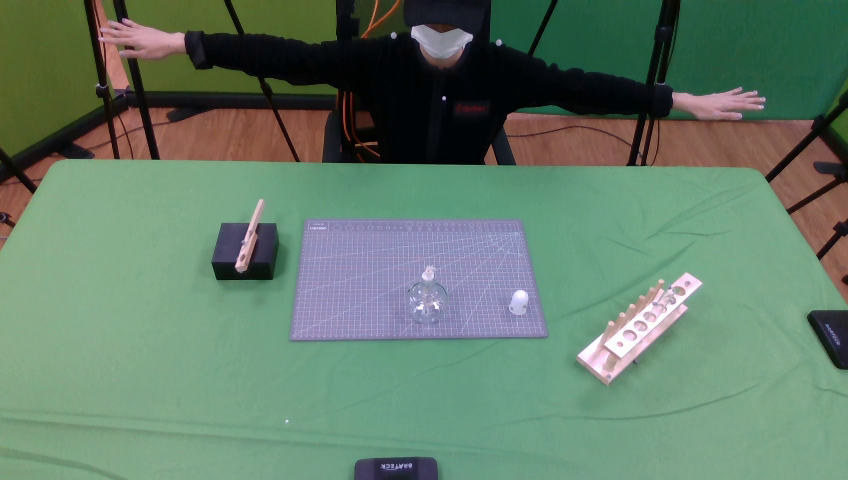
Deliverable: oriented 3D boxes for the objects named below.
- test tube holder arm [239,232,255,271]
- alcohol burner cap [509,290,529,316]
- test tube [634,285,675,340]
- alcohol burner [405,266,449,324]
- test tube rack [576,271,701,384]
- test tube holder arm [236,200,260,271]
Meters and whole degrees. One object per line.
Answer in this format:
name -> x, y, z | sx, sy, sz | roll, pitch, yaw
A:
test tube holder arm -> -0.317, 0.020, 1.089 | 0.010, 0.015, 0.087 | 2, 45, -2
alcohol burner cap -> 0.171, 0.110, 1.086 | 0.034, 0.048, 0.033 | 2, 45, -2
test tube -> 0.375, 0.122, 0.993 | 0.017, 0.151, 0.017 | 3, 50, -3
alcohol burner -> 0.005, 0.089, 1.043 | 0.078, 0.120, 0.077 | 1, 45, -1
test tube rack -> 0.373, 0.138, 1.047 | 0.242, 0.085, 0.066 | -31, 56, -29
test tube holder arm -> -0.324, -0.012, 1.120 | 0.013, 0.015, 0.177 | 0, 45, -3
